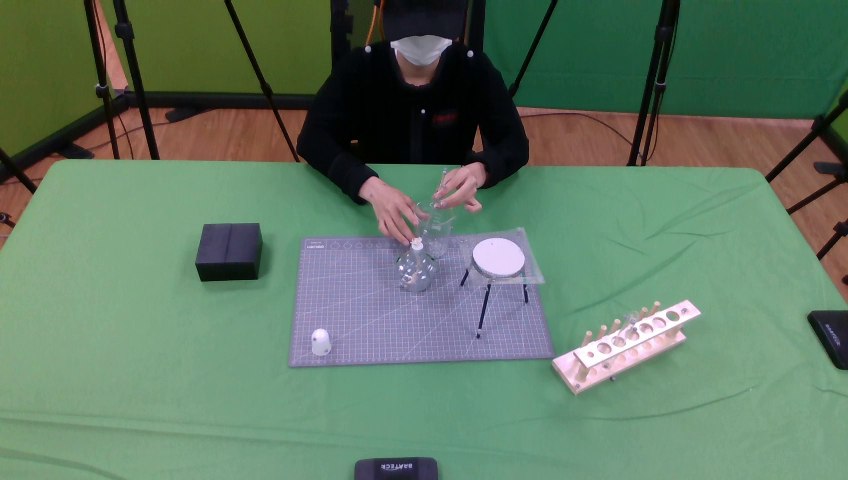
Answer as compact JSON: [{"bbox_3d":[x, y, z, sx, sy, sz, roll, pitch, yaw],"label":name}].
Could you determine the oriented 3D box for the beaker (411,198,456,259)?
[{"bbox_3d":[0.016,-0.019,1.161,0.084,0.101,0.073,6,46,1],"label":"beaker"}]

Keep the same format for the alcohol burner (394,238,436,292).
[{"bbox_3d":[-0.016,0.038,1.093,0.078,0.119,0.077,2,48,-2],"label":"alcohol burner"}]

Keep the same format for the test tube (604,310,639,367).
[{"bbox_3d":[0.310,0.158,0.957,0.017,0.151,0.017,1,49,-1],"label":"test tube"}]

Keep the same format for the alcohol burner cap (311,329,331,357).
[{"bbox_3d":[-0.173,0.168,1.004,0.034,0.048,0.033,2,46,-2],"label":"alcohol burner cap"}]

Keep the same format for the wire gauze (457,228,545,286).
[{"bbox_3d":[0.126,0.029,1.006,0.125,0.011,0.120,-4,46,-10],"label":"wire gauze"}]

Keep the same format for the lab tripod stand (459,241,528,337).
[{"bbox_3d":[0.122,0.075,1.054,0.148,0.132,0.147,3,44,-3],"label":"lab tripod stand"}]

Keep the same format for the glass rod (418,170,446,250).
[{"bbox_3d":[0.014,-0.051,1.117,0.008,0.200,0.008,9,44,-9],"label":"glass rod"}]

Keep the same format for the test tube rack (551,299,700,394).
[{"bbox_3d":[0.339,0.166,1.021,0.242,0.085,0.066,-19,50,-21],"label":"test tube rack"}]
